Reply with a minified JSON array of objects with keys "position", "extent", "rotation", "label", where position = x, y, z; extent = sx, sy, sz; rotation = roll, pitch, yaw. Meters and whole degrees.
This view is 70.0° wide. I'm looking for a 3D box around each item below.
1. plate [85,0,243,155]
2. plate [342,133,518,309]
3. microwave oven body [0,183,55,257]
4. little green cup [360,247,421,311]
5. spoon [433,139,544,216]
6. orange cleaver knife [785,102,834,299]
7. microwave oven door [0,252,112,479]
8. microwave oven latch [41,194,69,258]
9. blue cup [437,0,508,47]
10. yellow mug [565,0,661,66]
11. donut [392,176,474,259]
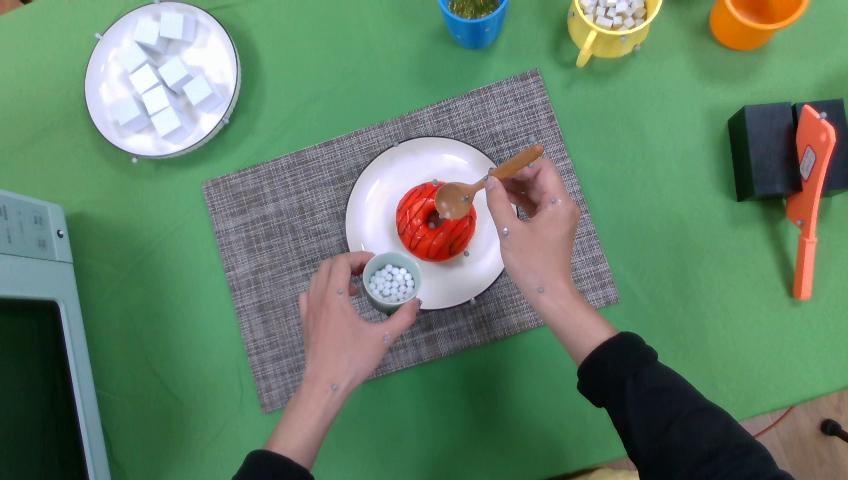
[{"position":[-0.330,-0.208,0.784],"extent":[0.207,0.039,0.207],"rotation":[-1,84,6],"label":"plate"},{"position":[0.008,-0.023,0.722],"extent":[0.209,0.038,0.208],"rotation":[-1,84,6],"label":"plate"},{"position":[-0.582,0.180,0.653],"extent":[0.326,0.261,0.440],"rotation":[-15,83,4],"label":"microwave oven body"},{"position":[-0.035,0.043,0.629],"extent":[0.061,0.039,0.061],"rotation":[4,57,-6],"label":"little green cup"},{"position":[0.057,-0.058,0.586],"extent":[0.021,0.193,0.041],"rotation":[-32,94,-24],"label":"spoon"},{"position":[0.412,-0.040,0.660],"extent":[0.012,0.077,0.212],"rotation":[-3,113,8],"label":"orange cleaver knife"},{"position":[-0.432,0.183,0.631],"extent":[0.039,0.244,0.354],"rotation":[-15,82,4],"label":"microwave oven door"},{"position":[-0.471,-0.016,0.760],"extent":[0.030,0.029,0.079],"rotation":[-13,83,4],"label":"microwave oven latch"},{"position":[0.058,-0.277,0.716],"extent":[0.092,0.100,0.092],"rotation":[0,85,6],"label":"blue cup"},{"position":[0.213,-0.264,0.715],"extent":[0.099,0.064,0.131],"rotation":[30,89,9],"label":"yellow mug"},{"position":[0.011,-0.026,0.711],"extent":[0.099,0.048,0.099],"rotation":[-1,85,8],"label":"donut"}]
